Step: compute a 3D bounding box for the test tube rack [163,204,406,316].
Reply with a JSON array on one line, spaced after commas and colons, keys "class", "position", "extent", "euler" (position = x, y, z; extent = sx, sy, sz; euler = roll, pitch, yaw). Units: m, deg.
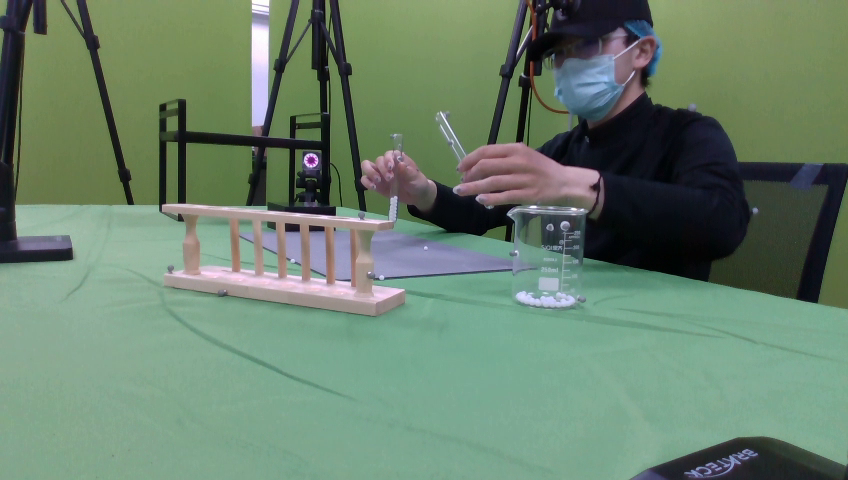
[{"class": "test tube rack", "position": [-0.141, 0.013, 0.601], "extent": [0.241, 0.085, 0.067], "euler": [5, 8, 21]}]

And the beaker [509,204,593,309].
[{"class": "beaker", "position": [0.126, 0.015, 0.613], "extent": [0.084, 0.100, 0.074], "euler": [1, 7, -5]}]

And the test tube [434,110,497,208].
[{"class": "test tube", "position": [0.056, -0.109, 0.812], "extent": [0.017, 0.150, 0.017], "euler": [-30, -6, -3]}]

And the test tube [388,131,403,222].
[{"class": "test tube", "position": [-0.046, -0.101, 0.986], "extent": [0.017, 0.150, 0.017], "euler": [5, 13, -1]}]
